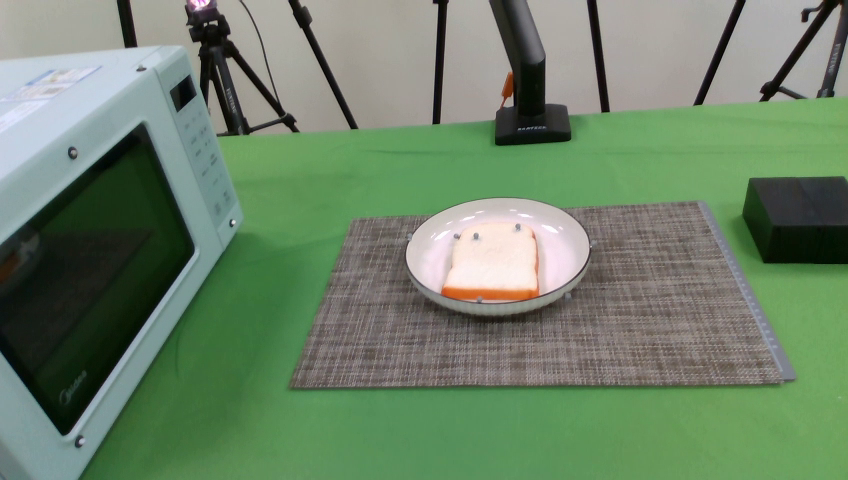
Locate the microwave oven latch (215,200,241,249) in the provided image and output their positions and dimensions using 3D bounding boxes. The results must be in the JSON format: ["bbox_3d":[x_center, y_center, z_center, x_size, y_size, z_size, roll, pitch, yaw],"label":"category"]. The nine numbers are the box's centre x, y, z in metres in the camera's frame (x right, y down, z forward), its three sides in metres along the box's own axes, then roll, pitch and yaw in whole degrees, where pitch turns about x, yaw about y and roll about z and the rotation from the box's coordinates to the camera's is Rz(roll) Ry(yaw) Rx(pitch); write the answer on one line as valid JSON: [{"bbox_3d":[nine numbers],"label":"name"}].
[{"bbox_3d":[-0.267,-0.021,0.797,0.030,0.030,0.078,-1,36,9],"label":"microwave oven latch"}]

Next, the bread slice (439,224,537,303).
[{"bbox_3d":[0.076,0.023,0.691,0.105,0.019,0.130,0,36,10],"label":"bread slice"}]

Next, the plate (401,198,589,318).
[{"bbox_3d":[0.079,0.021,0.689,0.209,0.038,0.207,-6,35,4],"label":"plate"}]

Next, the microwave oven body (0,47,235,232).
[{"bbox_3d":[-0.445,0.007,0.621,0.325,0.262,0.438,-2,36,8],"label":"microwave oven body"}]

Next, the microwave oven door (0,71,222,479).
[{"bbox_3d":[-0.305,0.021,0.562,0.039,0.246,0.353,-2,35,9],"label":"microwave oven door"}]
